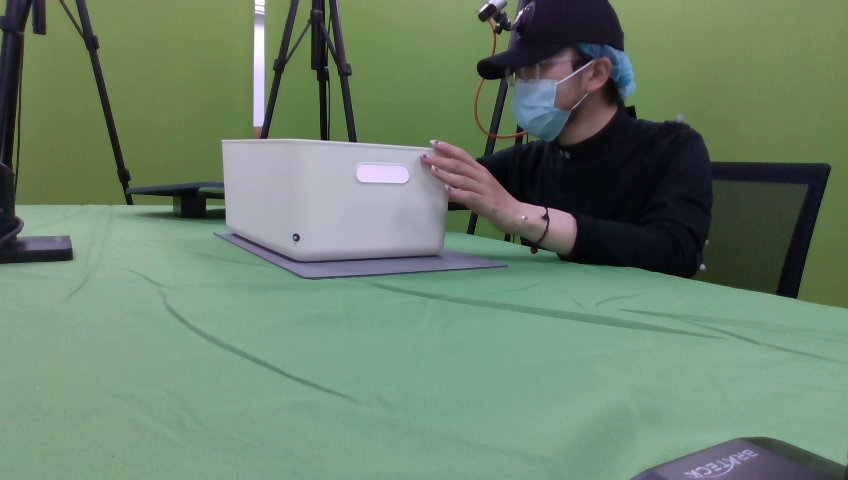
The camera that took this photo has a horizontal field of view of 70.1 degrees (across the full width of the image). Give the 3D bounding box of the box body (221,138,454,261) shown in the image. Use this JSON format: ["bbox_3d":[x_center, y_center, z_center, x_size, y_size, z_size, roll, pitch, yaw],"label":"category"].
[{"bbox_3d":[-0.152,-0.074,0.963,0.255,0.160,0.362,-2,9,-33],"label":"box body"}]

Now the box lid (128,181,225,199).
[{"bbox_3d":[-0.449,-0.110,1.394,0.262,0.015,0.373,-2,1,27],"label":"box lid"}]

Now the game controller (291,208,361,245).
[{"bbox_3d":[-0.161,-0.023,0.967,0.097,0.051,0.154,-5,9,-15],"label":"game controller"}]
